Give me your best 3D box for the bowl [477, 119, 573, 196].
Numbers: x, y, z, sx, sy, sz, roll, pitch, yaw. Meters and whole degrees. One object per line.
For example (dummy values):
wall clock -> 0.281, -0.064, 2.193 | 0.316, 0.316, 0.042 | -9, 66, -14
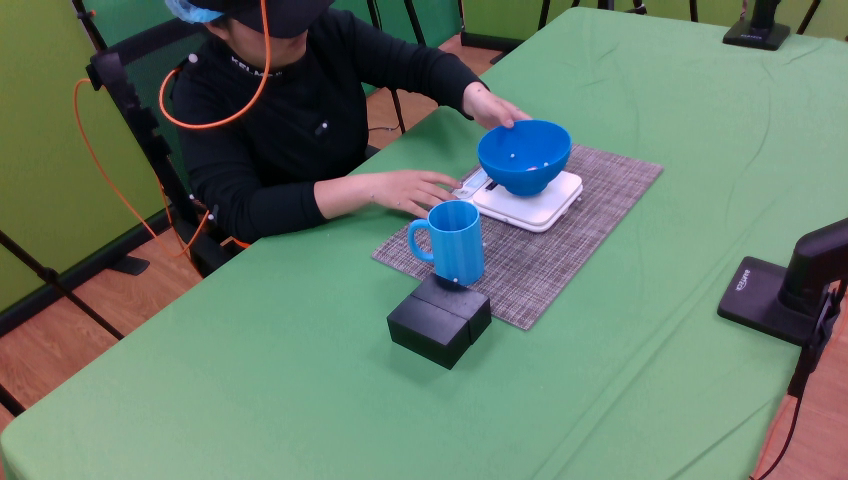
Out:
bowl -> 0.165, -0.124, 0.980 | 0.151, 0.077, 0.150 | -7, 41, 6

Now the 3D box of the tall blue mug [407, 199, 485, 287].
tall blue mug -> 0.034, 0.008, 0.892 | 0.107, 0.108, 0.077 | -13, 41, -5

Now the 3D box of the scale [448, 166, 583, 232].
scale -> 0.156, -0.085, 1.039 | 0.199, 0.032, 0.149 | 22, 49, 32
